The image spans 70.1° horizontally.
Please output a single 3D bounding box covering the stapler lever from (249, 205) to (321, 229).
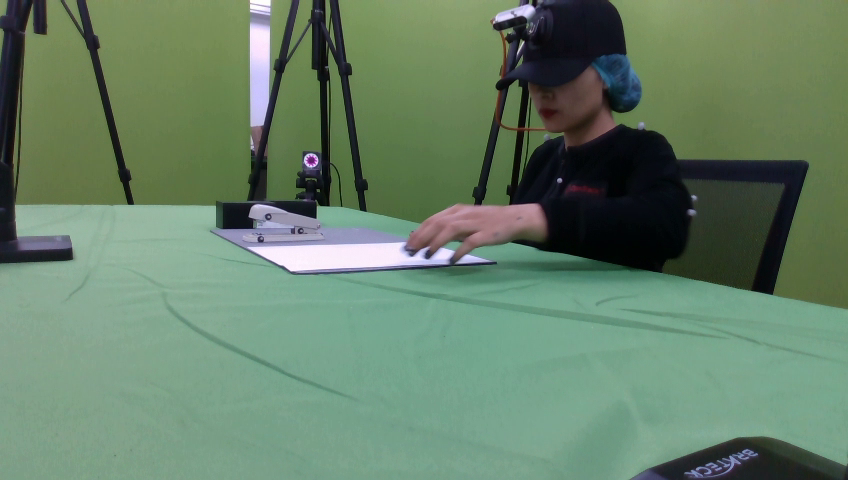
[{"bbox_3d":[-0.228,-0.037,0.994,0.119,0.040,0.026,-1,10,-36],"label":"stapler lever"}]

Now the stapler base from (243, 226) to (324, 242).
[{"bbox_3d":[-0.230,-0.012,0.996,0.131,0.024,0.041,-1,10,-36],"label":"stapler base"}]
